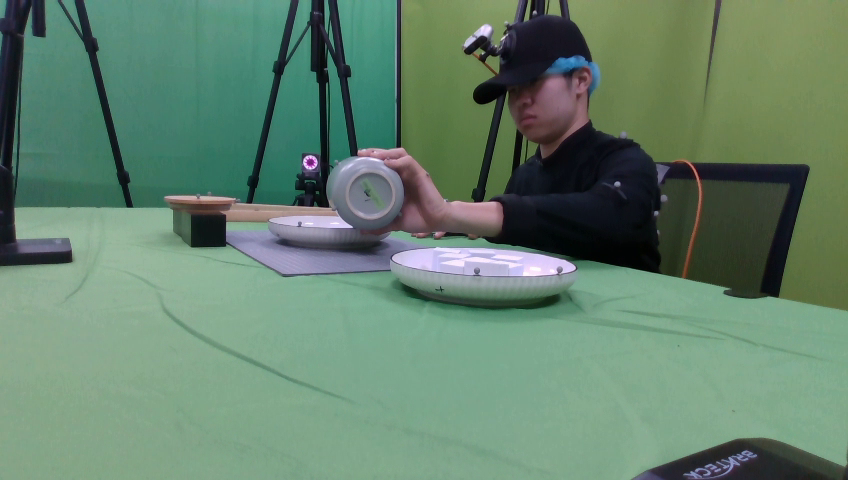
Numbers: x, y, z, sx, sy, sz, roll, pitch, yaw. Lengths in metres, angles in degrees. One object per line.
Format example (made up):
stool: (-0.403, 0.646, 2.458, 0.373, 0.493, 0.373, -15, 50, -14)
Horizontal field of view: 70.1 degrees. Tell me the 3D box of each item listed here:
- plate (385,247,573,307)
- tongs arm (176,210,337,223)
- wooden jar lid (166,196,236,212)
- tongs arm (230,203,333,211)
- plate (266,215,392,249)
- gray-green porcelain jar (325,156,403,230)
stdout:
plate: (0.060, 0.041, 0.678, 0.208, 0.039, 0.207, 3, 7, 0)
tongs arm: (-0.337, -0.053, 1.329, 0.389, 0.028, 0.028, -1, 6, -27)
wooden jar lid: (-0.369, -0.060, 1.001, 0.108, 0.020, 0.108, 3, 6, 0)
tongs arm: (-0.362, -0.068, 1.406, 0.386, 0.026, 0.050, 2, 9, -14)
plate: (-0.159, -0.015, 1.019, 0.209, 0.038, 0.209, 3, 7, 0)
gray-green porcelain jar: (-0.090, -0.071, 0.901, 0.106, 0.106, 0.126, 1, 9, -14)
